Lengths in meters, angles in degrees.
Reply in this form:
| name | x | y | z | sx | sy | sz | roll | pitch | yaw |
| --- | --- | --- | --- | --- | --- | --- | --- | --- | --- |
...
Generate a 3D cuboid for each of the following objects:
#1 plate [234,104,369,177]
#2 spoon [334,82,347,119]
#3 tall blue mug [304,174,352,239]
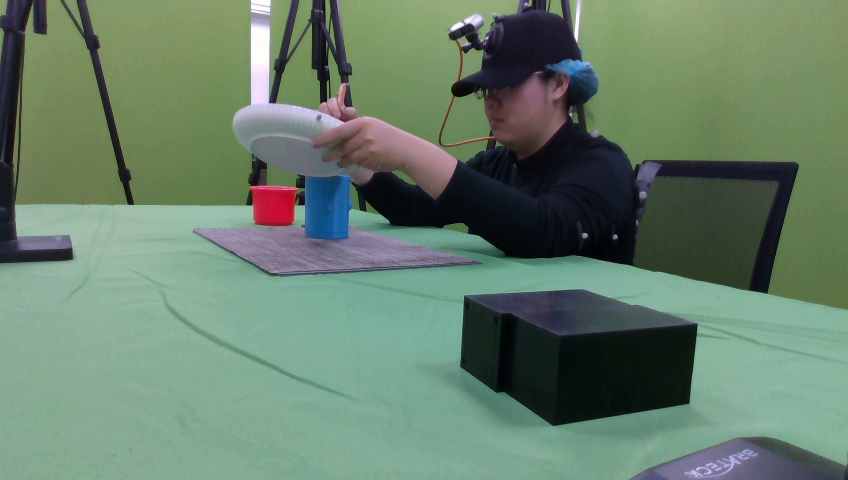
| name | x | y | z | sx | sy | sz | roll | pitch | yaw |
| --- | --- | --- | --- | --- | --- | --- | --- | --- | --- |
| plate | -0.191 | -0.143 | 0.939 | 0.208 | 0.039 | 0.208 | 7 | -15 | 2 |
| spoon | -0.162 | -0.214 | 1.084 | 0.041 | 0.193 | 0.022 | -11 | -41 | 27 |
| tall blue mug | -0.178 | -0.062 | 1.062 | 0.078 | 0.108 | 0.106 | -5 | 11 | -38 |
